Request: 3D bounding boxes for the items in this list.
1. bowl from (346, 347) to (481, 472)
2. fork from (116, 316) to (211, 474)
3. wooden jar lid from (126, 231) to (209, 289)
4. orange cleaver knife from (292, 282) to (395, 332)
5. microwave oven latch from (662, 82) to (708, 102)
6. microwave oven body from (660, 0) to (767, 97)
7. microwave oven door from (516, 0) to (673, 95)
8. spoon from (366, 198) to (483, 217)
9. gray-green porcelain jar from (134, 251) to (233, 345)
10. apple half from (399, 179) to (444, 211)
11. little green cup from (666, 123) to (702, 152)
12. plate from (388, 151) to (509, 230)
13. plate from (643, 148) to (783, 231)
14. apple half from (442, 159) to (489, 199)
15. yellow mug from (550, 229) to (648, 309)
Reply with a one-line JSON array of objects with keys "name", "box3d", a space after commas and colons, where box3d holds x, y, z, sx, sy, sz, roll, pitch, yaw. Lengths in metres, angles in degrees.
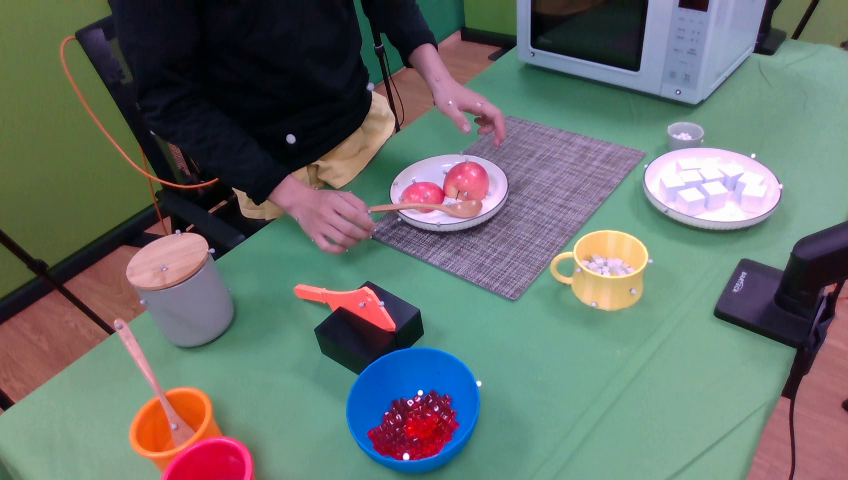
[{"name": "bowl", "box3d": [-0.008, 0.205, 0.691, 0.151, 0.077, 0.150, -4, 40, 4]}, {"name": "fork", "box3d": [-0.308, 0.179, 0.708, 0.028, 0.018, 0.207, -30, 89, -14]}, {"name": "wooden jar lid", "box3d": [-0.340, 0.030, 0.808, 0.108, 0.021, 0.108, -5, 39, 5]}, {"name": "orange cleaver knife", "box3d": [-0.116, 0.091, 0.835, 0.209, 0.077, 0.012, 2, 32, 48]}, {"name": "microwave oven latch", "box3d": [0.517, -0.298, 1.203, 0.078, 0.029, 0.030, 28, 52, 35]}, {"name": "microwave oven body", "box3d": [0.473, -0.516, 1.314, 0.438, 0.261, 0.327, 26, 51, 34]}, {"name": "microwave oven door", "box3d": [0.344, -0.458, 1.256, 0.353, 0.245, 0.039, 26, 51, 33]}, {"name": "spoon", "box3d": [0.001, -0.056, 0.998, 0.194, 0.022, 0.041, 2, 50, -9]}, {"name": "gray-green porcelain jar", "box3d": [-0.334, 0.076, 0.849, 0.106, 0.127, 0.105, -4, 41, 4]}, {"name": "apple half", "box3d": [-0.004, -0.087, 1.046, 0.081, 0.033, 0.081, -2, 43, 2]}, {"name": "little green cup", "box3d": [0.472, -0.183, 1.102, 0.061, 0.039, 0.061, -5, 39, 5]}, {"name": "plate", "box3d": [0.043, -0.082, 1.042, 0.209, 0.038, 0.208, -4, 40, 4]}, {"name": "plate", "box3d": [0.464, -0.080, 0.986, 0.207, 0.039, 0.206, -4, 41, 4]}, {"name": "apple half", "box3d": [0.074, -0.110, 1.047, 0.080, 0.053, 0.075, 22, 46, 30]}, {"name": "yellow mug", "box3d": [0.245, 0.040, 0.857, 0.130, 0.064, 0.099, 1, 42, 11]}]
